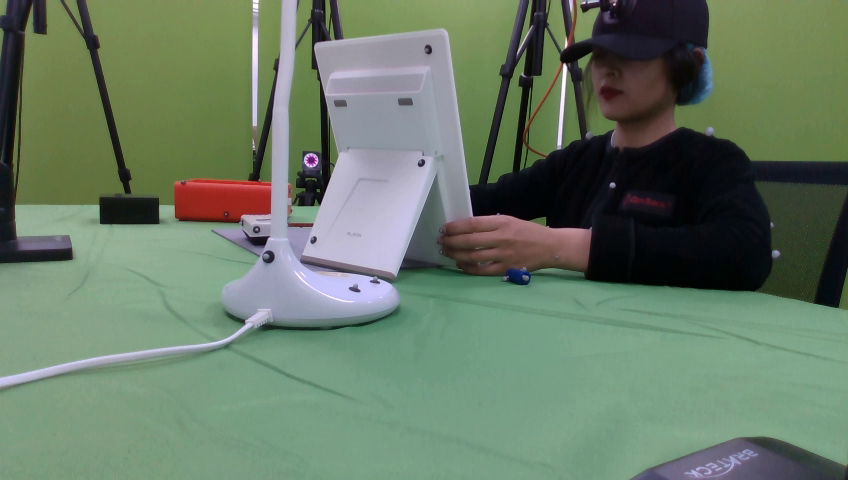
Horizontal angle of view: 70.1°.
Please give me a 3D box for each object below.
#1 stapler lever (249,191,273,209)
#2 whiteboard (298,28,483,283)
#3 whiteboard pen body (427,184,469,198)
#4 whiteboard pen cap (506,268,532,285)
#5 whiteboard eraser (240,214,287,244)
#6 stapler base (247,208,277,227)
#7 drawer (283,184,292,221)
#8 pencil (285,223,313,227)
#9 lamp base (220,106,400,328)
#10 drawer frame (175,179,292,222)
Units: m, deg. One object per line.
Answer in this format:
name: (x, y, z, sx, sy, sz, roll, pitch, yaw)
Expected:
stapler lever: (-0.351, -0.086, 1.306, 0.027, 0.040, 0.118, 0, 5, -3)
whiteboard: (-0.075, -0.082, 0.741, 0.216, 0.305, 0.144, 9, 29, 38)
whiteboard pen body: (0.034, -0.069, 0.845, 0.017, 0.017, 0.141, 6, 8, 23)
whiteboard pen cap: (0.113, 0.043, 0.726, 0.018, 0.018, 0.033, -2, 9, -28)
whiteboard eraser: (-0.256, -0.017, 0.958, 0.056, 0.042, 0.112, 0, 8, -25)
stapler base: (-0.350, -0.053, 1.310, 0.041, 0.024, 0.130, 0, 13, -3)
drawer: (-0.397, -0.086, 1.314, 0.212, 0.073, 0.194, 1, 8, -9)
pencil: (-0.234, -0.030, 1.198, 0.195, 0.012, 0.012, 0, 8, -20)
lamp base: (-0.102, -0.023, 0.531, 0.160, 0.180, 0.179, 4, 10, 10)
drawer frame: (-0.402, -0.087, 1.311, 0.214, 0.082, 0.201, 1, 8, -9)
